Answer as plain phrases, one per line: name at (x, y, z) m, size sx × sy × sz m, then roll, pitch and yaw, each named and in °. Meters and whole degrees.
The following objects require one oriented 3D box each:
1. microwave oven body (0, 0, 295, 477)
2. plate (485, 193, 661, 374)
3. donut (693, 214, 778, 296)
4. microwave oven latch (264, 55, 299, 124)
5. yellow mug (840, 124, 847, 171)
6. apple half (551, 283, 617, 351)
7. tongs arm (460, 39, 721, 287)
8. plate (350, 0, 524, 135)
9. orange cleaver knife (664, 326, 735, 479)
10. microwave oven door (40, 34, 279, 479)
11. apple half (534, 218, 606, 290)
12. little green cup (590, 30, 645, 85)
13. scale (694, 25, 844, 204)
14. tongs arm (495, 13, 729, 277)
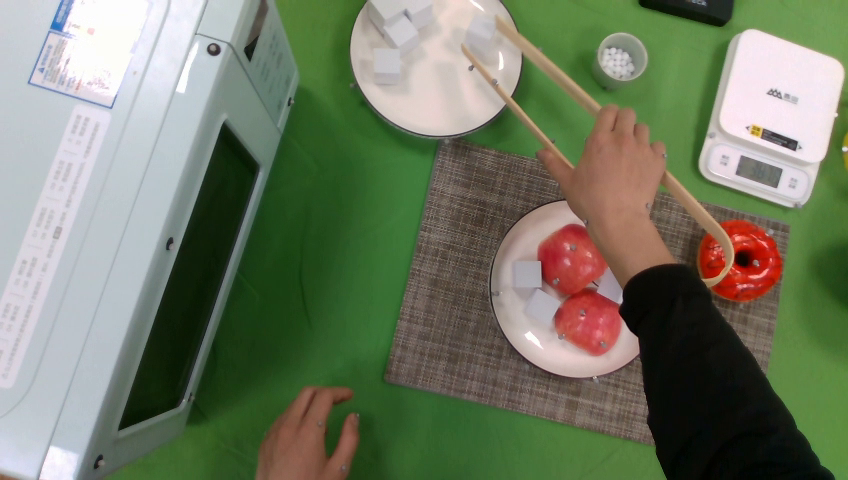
microwave oven body at (-0.353, -0.062, 0.571) m, size 0.326 × 0.260 × 0.440 m, roll 17°, pitch 83°, yaw -3°
plate at (0.172, 0.050, 0.712) m, size 0.209 × 0.038 × 0.208 m, roll 1°, pitch 84°, yaw -4°
donut at (0.372, 0.018, 0.728) m, size 0.099 × 0.048 × 0.099 m, roll 0°, pitch 83°, yaw -2°
microwave oven latch at (-0.168, -0.176, 0.695) m, size 0.030 × 0.029 × 0.079 m, roll 19°, pitch 83°, yaw -2°
yellow mug at (0.582, -0.135, 0.754) m, size 0.100 × 0.064 × 0.130 m, roll -18°, pitch 85°, yaw -5°
apple half at (0.191, 0.087, 0.703) m, size 0.081 × 0.033 × 0.081 m, roll 0°, pitch 84°, yaw 0°
tongs arm at (0.161, -0.098, 0.644) m, size 0.051 × 0.027 × 0.381 m, roll -33°, pitch 67°, yaw -2°
plate at (0.015, -0.225, 0.734) m, size 0.208 × 0.039 × 0.207 m, roll 1°, pitch 83°, yaw -4°
orange cleaver knife at (0.332, 0.209, 0.717) m, size 0.077 × 0.012 × 0.210 m, roll -4°, pitch 83°, yaw -9°
microwave oven door at (-0.225, 0.020, 0.567) m, size 0.039 × 0.244 × 0.355 m, roll 16°, pitch 82°, yaw -2°
apple half at (0.171, 0.013, 0.701) m, size 0.081 × 0.053 × 0.074 m, roll -31°, pitch 84°, yaw -8°
little green cup at (0.237, -0.224, 0.751) m, size 0.061 × 0.038 × 0.061 m, roll 1°, pitch 83°, yaw -4°
scale at (0.434, -0.158, 0.762) m, size 0.149 × 0.031 × 0.200 m, roll 18°, pitch 83°, yaw -2°
tongs arm at (0.187, -0.117, 0.646) m, size 0.028 × 0.028 × 0.384 m, roll -33°, pitch 67°, yaw -6°
